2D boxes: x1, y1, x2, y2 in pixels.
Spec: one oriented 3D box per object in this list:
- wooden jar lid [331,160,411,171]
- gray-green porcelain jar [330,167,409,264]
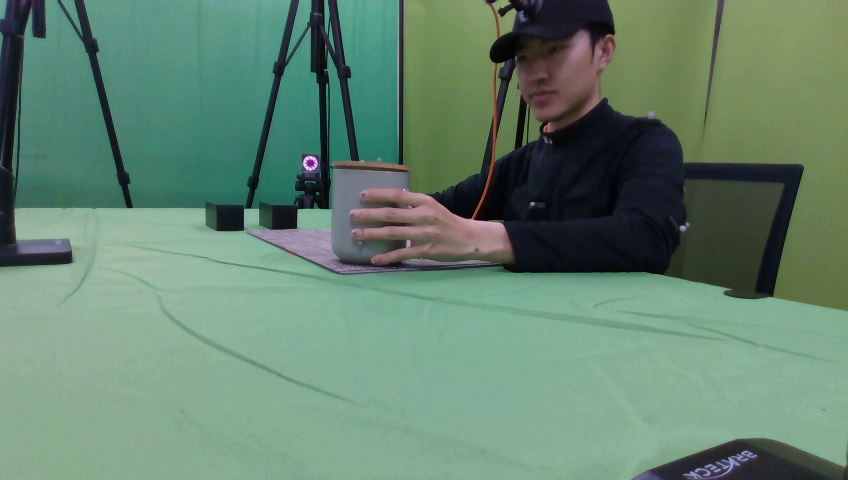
[{"bbox_3d":[-0.072,-0.096,0.825,0.108,0.020,0.108,3,3,0],"label":"wooden jar lid"},{"bbox_3d":[-0.075,-0.035,0.833,0.106,0.126,0.106,2,6,0],"label":"gray-green porcelain jar"}]
